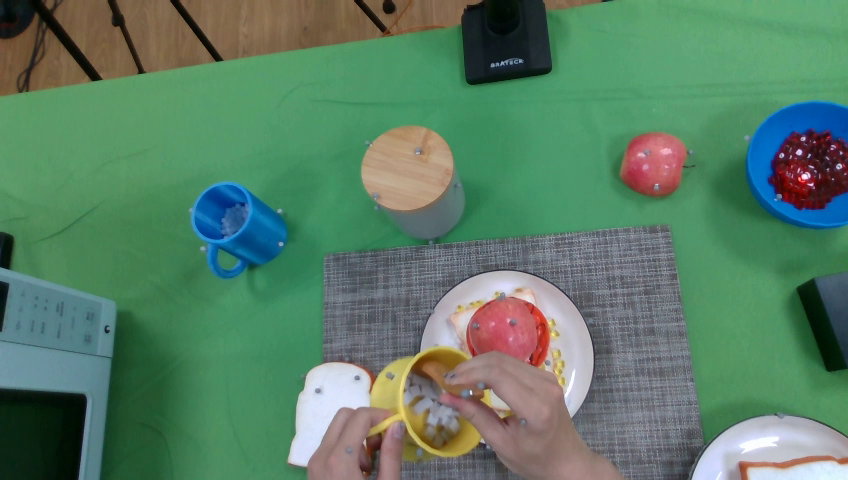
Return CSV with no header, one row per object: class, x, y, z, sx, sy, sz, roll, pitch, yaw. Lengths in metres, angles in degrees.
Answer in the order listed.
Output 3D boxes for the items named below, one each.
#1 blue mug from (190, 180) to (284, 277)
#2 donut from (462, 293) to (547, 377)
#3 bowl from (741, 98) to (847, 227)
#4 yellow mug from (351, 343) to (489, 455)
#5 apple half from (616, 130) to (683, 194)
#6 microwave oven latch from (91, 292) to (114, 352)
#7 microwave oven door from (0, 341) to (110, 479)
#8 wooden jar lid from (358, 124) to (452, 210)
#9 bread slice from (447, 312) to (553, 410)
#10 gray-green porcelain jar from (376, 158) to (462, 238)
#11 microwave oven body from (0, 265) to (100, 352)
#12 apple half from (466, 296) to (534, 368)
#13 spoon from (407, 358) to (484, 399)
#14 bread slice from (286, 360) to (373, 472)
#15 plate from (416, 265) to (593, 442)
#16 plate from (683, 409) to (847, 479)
blue mug,-0.250,-0.007,0.800,0.082,0.106,0.116,15,78,15
donut,0.094,0.110,0.704,0.099,0.048,0.098,-3,75,11
bowl,0.440,-0.079,0.704,0.151,0.077,0.150,-3,74,10
yellow mug,-0.009,0.157,0.572,0.131,0.064,0.099,-17,82,-34
apple half,0.282,-0.103,0.754,0.074,0.054,0.080,17,78,17
microwave oven latch,-0.443,0.111,0.819,0.030,0.030,0.078,-1,75,10
microwave oven door,-0.456,0.294,0.663,0.039,0.245,0.353,-5,73,10
wooden jar lid,-0.021,-0.083,0.700,0.108,0.021,0.107,-3,72,8
bread slice,0.098,0.137,0.738,0.107,0.018,0.133,-22,64,0
gray-green porcelain jar,-0.008,-0.065,0.760,0.105,0.127,0.105,-3,73,10
microwave oven body,-0.600,0.267,0.703,0.325,0.262,0.439,-5,74,9
apple half,0.084,0.100,0.671,0.081,0.033,0.081,-5,72,16
spoon,0.019,0.118,0.511,0.042,0.193,0.021,16,84,-10
bread slice,-0.115,0.216,0.756,0.104,0.019,0.131,3,77,10
plate,0.095,0.134,0.727,0.207,0.039,0.206,-3,74,10
plate,0.377,0.285,0.635,0.209,0.038,0.208,-3,74,10
